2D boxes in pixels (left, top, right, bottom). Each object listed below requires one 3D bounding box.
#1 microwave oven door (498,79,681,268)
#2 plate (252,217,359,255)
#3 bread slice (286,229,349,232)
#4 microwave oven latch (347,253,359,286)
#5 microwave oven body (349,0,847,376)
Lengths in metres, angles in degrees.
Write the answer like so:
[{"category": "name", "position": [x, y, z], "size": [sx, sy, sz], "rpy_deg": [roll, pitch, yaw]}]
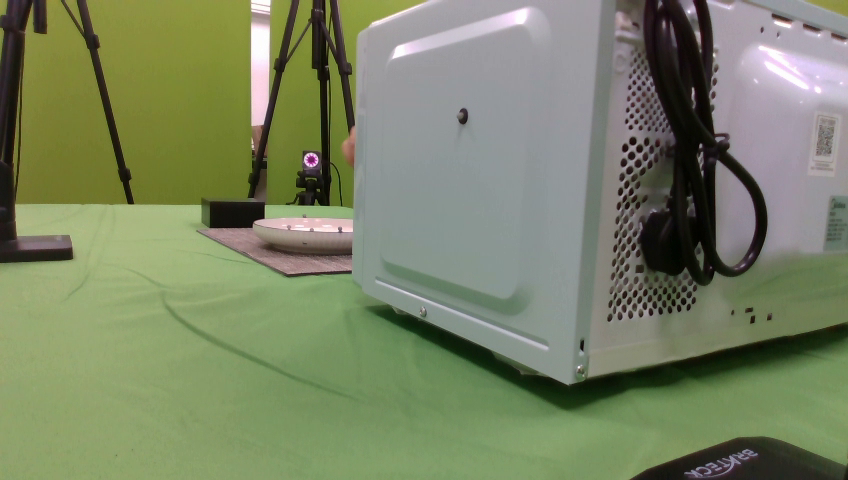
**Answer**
[{"category": "microwave oven door", "position": [0.230, -0.105, 0.924], "size": [0.039, 0.243, 0.354], "rpy_deg": [-1, 8, -26]}, {"category": "plate", "position": [-0.155, -0.007, 0.924], "size": [0.209, 0.038, 0.209], "rpy_deg": [3, 7, 0]}, {"category": "bread slice", "position": [-0.153, -0.005, 0.921], "size": [0.132, 0.019, 0.104], "rpy_deg": [0, 7, -30]}, {"category": "microwave oven latch", "position": [-0.034, 0.028, 0.581], "size": [0.079, 0.029, 0.030], "rpy_deg": [-1, 7, -31]}, {"category": "microwave oven body", "position": [0.199, -0.053, 0.540], "size": [0.444, 0.260, 0.324], "rpy_deg": [-1, 7, -32]}]
